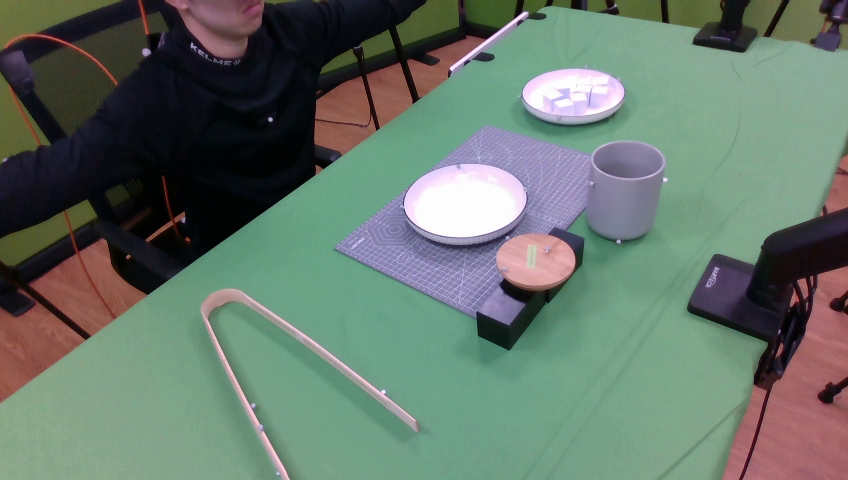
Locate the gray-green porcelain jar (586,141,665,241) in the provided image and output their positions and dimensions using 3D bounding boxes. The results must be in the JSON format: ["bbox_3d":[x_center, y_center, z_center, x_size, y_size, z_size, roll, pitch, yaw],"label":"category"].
[{"bbox_3d":[0.305,-0.070,0.927,0.106,0.127,0.105,-4,41,4],"label":"gray-green porcelain jar"}]

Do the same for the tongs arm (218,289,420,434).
[{"bbox_3d":[-0.153,0.151,0.811,0.384,0.028,0.028,26,53,33],"label":"tongs arm"}]

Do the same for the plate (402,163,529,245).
[{"bbox_3d":[0.069,-0.056,1.008,0.209,0.038,0.208,-4,40,4],"label":"plate"}]

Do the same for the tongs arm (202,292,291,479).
[{"bbox_3d":[-0.216,0.187,0.772,0.051,0.026,0.381,-28,44,-24],"label":"tongs arm"}]

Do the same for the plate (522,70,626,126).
[{"bbox_3d":[0.308,-0.290,1.251,0.207,0.039,0.206,-4,40,4],"label":"plate"}]

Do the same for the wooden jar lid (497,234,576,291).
[{"bbox_3d":[0.155,0.032,0.834,0.108,0.021,0.108,-5,40,5],"label":"wooden jar lid"}]
